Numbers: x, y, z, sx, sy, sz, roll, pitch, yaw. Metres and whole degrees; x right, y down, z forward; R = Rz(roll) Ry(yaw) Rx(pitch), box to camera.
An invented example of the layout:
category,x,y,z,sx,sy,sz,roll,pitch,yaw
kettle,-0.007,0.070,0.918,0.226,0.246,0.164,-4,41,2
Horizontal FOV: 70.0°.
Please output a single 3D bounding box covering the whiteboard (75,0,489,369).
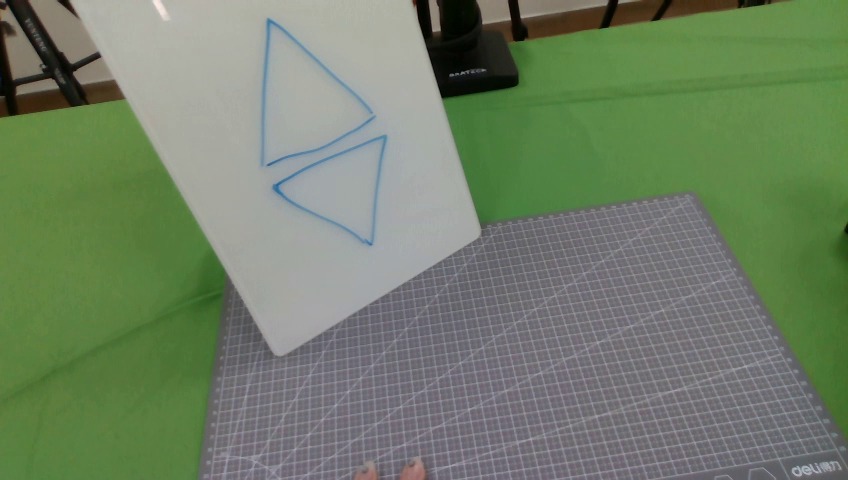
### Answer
category,x,y,z,sx,sy,sz,roll,pitch,yaw
whiteboard,-0.105,-0.092,0.512,0.217,0.308,0.142,-30,30,-18
